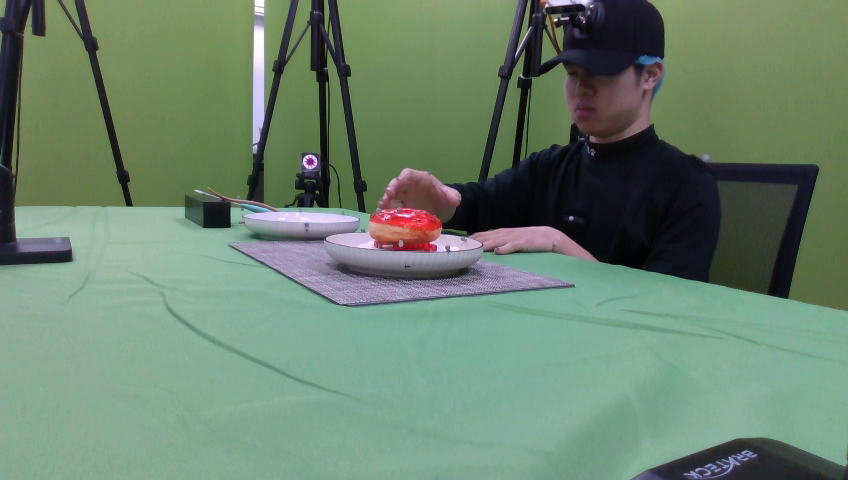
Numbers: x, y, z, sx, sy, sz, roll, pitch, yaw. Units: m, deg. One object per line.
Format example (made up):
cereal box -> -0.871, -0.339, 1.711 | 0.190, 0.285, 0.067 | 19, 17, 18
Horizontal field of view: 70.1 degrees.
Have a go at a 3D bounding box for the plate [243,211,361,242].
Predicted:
plate -> -0.219, -0.025, 1.092 | 0.208, 0.039, 0.207 | 3, 7, 0

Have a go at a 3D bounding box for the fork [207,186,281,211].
fork -> -0.342, -0.070, 1.244 | 0.208, 0.018, 0.028 | 18, -4, -24

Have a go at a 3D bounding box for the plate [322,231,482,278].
plate -> -0.028, 0.018, 0.789 | 0.209, 0.038, 0.209 | 3, 7, 0

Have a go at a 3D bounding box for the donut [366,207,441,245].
donut -> -0.027, -0.017, 0.786 | 0.099, 0.048, 0.099 | 3, 7, 0

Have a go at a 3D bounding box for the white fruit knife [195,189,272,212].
white fruit knife -> -0.378, -0.073, 1.270 | 0.208, 0.016, 0.027 | 18, -4, -32

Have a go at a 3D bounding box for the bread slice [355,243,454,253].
bread slice -> -0.027, 0.021, 0.793 | 0.131, 0.019, 0.105 | 7, 7, 17
